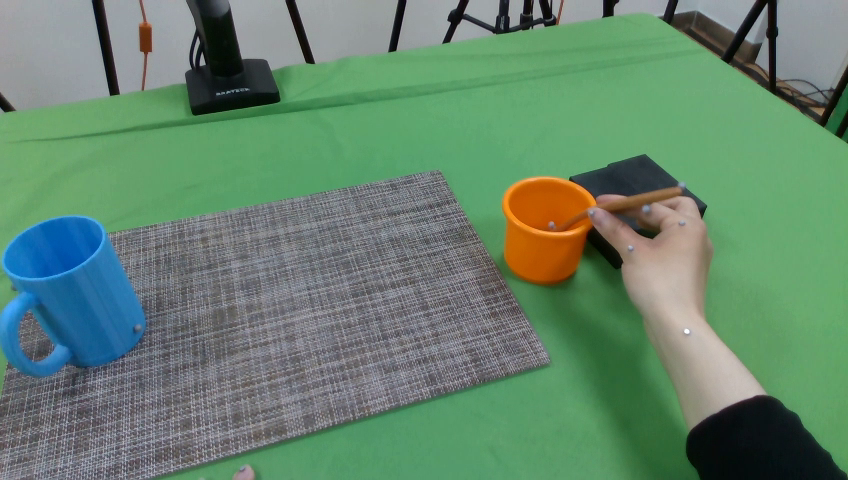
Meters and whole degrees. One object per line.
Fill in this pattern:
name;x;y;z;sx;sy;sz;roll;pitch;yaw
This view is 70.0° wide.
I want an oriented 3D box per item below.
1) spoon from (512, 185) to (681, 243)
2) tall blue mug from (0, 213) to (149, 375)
spoon;0.151;-0.024;0.562;0.042;0.193;0.021;-24;89;-34
tall blue mug;-0.287;0.052;0.502;0.078;0.109;0.106;-6;43;-8
